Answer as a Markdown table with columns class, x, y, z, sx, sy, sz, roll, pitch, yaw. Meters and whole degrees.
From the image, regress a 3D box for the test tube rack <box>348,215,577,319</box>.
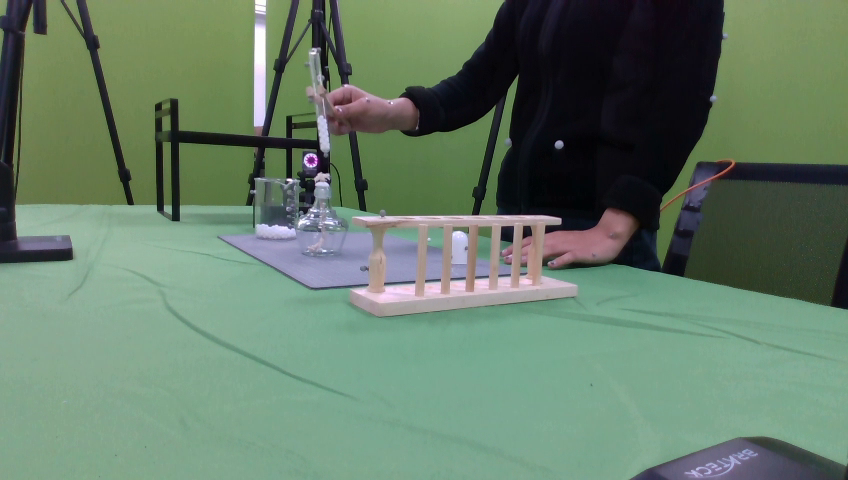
| class | x | y | z | sx | sy | sz | roll | pitch | yaw |
| --- | --- | --- | --- | --- | --- | --- | --- | --- | --- |
| test tube rack | 0.048 | 0.021 | 0.619 | 0.244 | 0.085 | 0.066 | -2 | 9 | -31 |

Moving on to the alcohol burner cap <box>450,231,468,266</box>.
| class | x | y | z | sx | sy | sz | roll | pitch | yaw |
| --- | --- | --- | --- | --- | --- | --- | --- | --- | --- |
| alcohol burner cap | 0.046 | 0.012 | 0.839 | 0.034 | 0.048 | 0.034 | 3 | 5 | 0 |

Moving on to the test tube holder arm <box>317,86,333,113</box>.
| class | x | y | z | sx | sy | sz | roll | pitch | yaw |
| --- | --- | --- | --- | --- | --- | --- | --- | --- | --- |
| test tube holder arm | -0.143 | -0.203 | 0.879 | 0.010 | 0.015 | 0.088 | -3 | -5 | -1 |

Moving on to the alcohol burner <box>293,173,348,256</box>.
| class | x | y | z | sx | sy | sz | roll | pitch | yaw |
| --- | --- | --- | --- | --- | --- | --- | --- | --- | --- |
| alcohol burner | -0.146 | -0.036 | 0.859 | 0.078 | 0.119 | 0.078 | 4 | 8 | 0 |

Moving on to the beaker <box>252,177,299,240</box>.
| class | x | y | z | sx | sy | sz | roll | pitch | yaw |
| --- | --- | --- | --- | --- | --- | --- | --- | --- | --- |
| beaker | -0.245 | -0.052 | 1.005 | 0.074 | 0.100 | 0.083 | -3 | 10 | -32 |

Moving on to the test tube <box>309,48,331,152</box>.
| class | x | y | z | sx | sy | sz | roll | pitch | yaw |
| --- | --- | --- | --- | --- | --- | --- | --- | --- | --- |
| test tube | -0.147 | -0.198 | 0.856 | 0.017 | 0.150 | 0.017 | -7 | -5 | 0 |

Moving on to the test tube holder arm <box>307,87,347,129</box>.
| class | x | y | z | sx | sy | sz | roll | pitch | yaw |
| --- | --- | --- | --- | --- | --- | --- | --- | --- | --- |
| test tube holder arm | -0.145 | -0.199 | 0.924 | 0.013 | 0.015 | 0.178 | -4 | -5 | 6 |
